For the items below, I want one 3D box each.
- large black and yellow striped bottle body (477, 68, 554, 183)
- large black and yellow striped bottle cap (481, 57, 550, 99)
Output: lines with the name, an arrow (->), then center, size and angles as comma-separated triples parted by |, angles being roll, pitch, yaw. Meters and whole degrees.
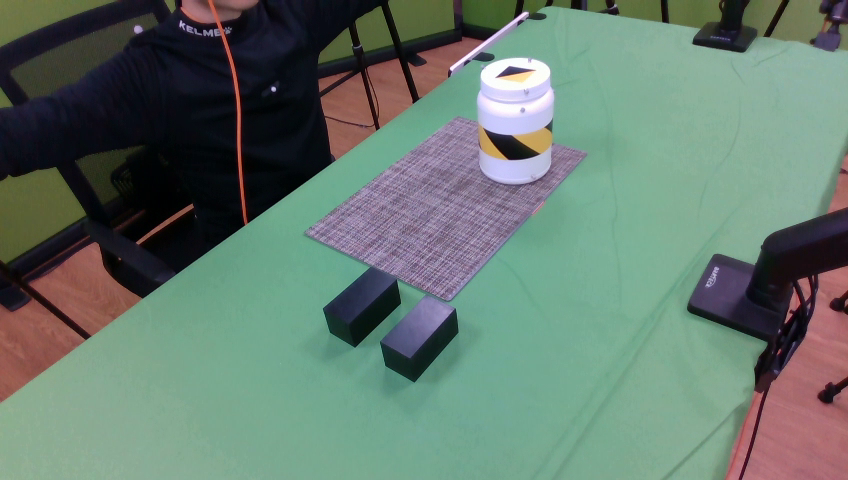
large black and yellow striped bottle body -> 0.159, -0.206, 1.054 | 0.131, 0.185, 0.130 | -4, 41, 4
large black and yellow striped bottle cap -> 0.151, -0.270, 1.001 | 0.115, 0.019, 0.114 | -4, 42, 4
